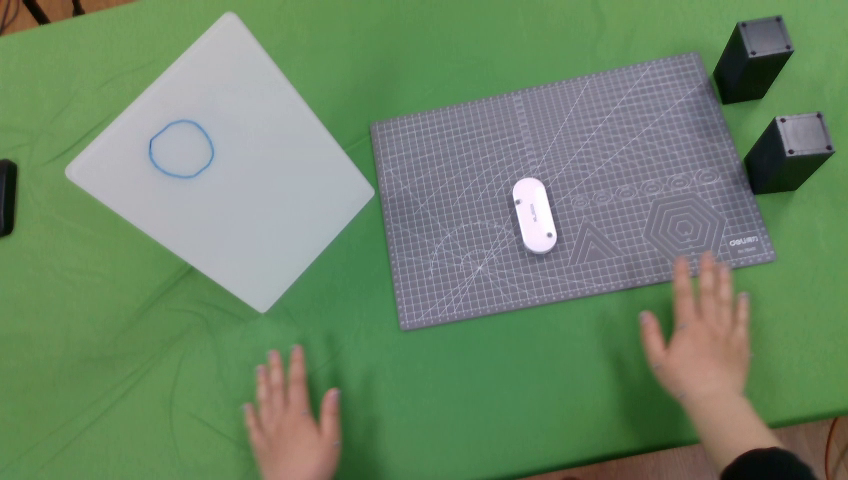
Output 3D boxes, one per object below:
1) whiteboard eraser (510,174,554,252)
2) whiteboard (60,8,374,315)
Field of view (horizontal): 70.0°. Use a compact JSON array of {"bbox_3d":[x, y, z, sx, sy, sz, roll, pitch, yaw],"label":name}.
[{"bbox_3d":[0.134,-0.034,0.751,0.041,0.019,0.100,-11,71,4],"label":"whiteboard eraser"},{"bbox_3d":[-0.238,-0.091,0.709,0.217,0.309,0.142,-49,52,-9],"label":"whiteboard"}]
